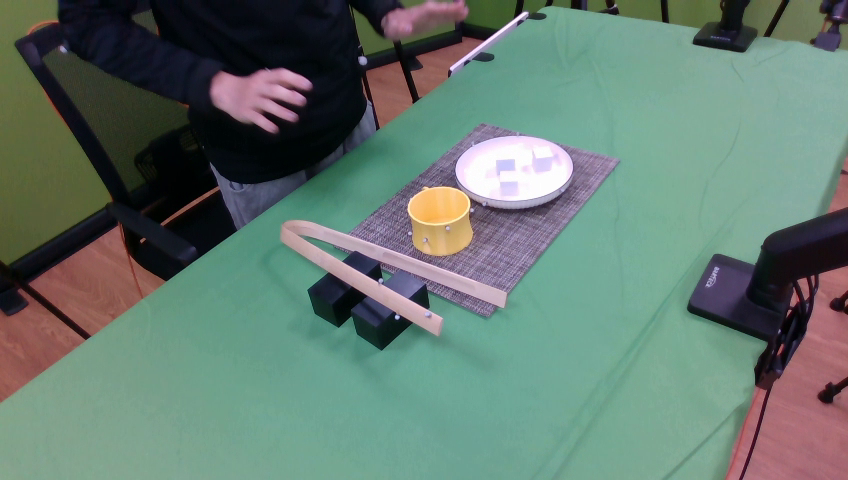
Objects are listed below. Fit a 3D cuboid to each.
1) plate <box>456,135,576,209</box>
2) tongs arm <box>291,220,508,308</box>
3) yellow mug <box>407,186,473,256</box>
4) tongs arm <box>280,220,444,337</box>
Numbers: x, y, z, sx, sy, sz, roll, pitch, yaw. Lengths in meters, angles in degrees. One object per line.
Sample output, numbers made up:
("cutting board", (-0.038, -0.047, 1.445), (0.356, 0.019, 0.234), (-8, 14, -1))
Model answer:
("plate", (0.161, -0.116, 1.064), (0.207, 0.039, 0.206), (-4, 40, 4))
("tongs arm", (-0.049, 0.031, 0.924), (0.385, 0.028, 0.028), (18, 25, 26))
("yellow mug", (0.021, -0.041, 0.973), (0.100, 0.064, 0.129), (-19, 41, -12))
("tongs arm", (-0.101, 0.043, 0.861), (0.381, 0.026, 0.051), (24, 24, 38))
